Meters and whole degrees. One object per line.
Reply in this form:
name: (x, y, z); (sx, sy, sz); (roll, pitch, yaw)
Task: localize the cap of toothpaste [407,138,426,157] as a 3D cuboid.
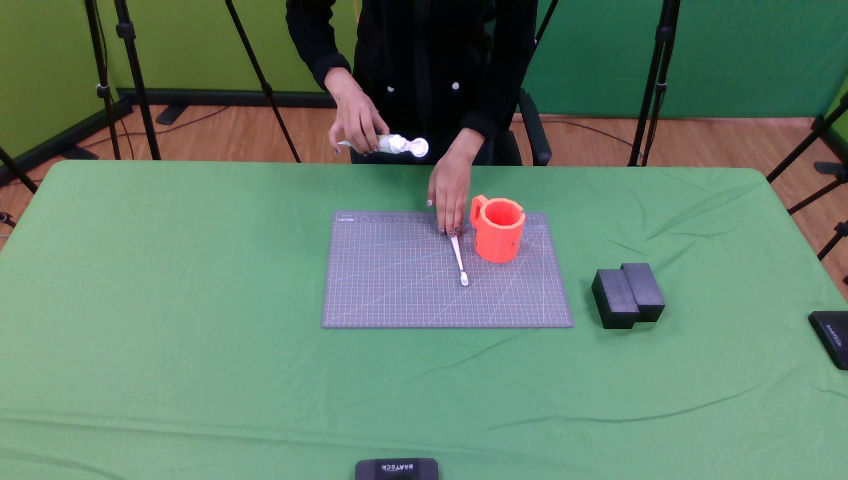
cap of toothpaste: (-0.014, -0.171, 1.115); (0.037, 0.037, 0.011); (21, 6, 16)

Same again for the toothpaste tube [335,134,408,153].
toothpaste tube: (-0.094, -0.188, 1.152); (0.164, 0.034, 0.055); (13, 26, 38)

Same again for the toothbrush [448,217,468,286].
toothbrush: (0.065, 0.017, 1.186); (0.014, 0.017, 0.180); (-14, 45, 3)

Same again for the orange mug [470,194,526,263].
orange mug: (0.136, -0.030, 1.180); (0.083, 0.101, 0.125); (-26, 58, -26)
